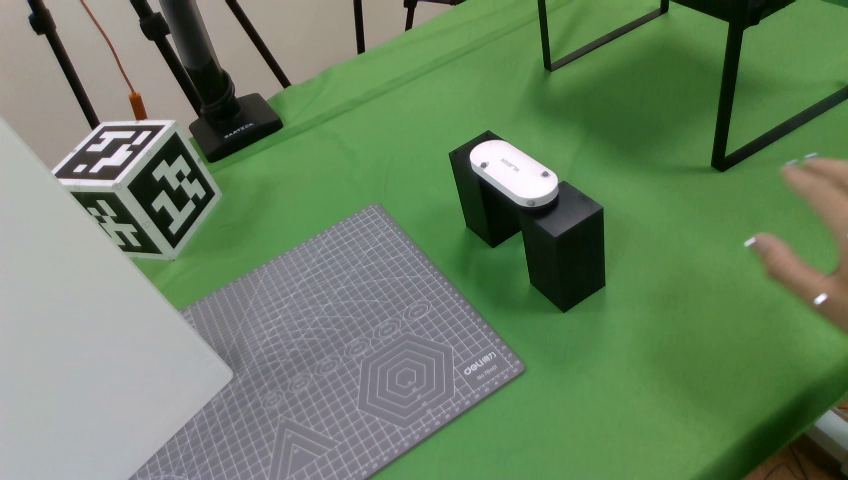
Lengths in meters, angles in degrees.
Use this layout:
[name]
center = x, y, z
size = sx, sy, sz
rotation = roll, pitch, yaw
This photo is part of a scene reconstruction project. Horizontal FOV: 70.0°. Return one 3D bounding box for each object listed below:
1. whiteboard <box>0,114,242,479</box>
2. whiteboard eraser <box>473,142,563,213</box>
[whiteboard]
center = -0.354, 0.080, 0.520
size = 0.217, 0.308, 0.143
rotation = -46, 30, -25
[whiteboard eraser]
center = 0.081, -0.058, 0.538
size = 0.041, 0.019, 0.100
rotation = -30, 45, -15
